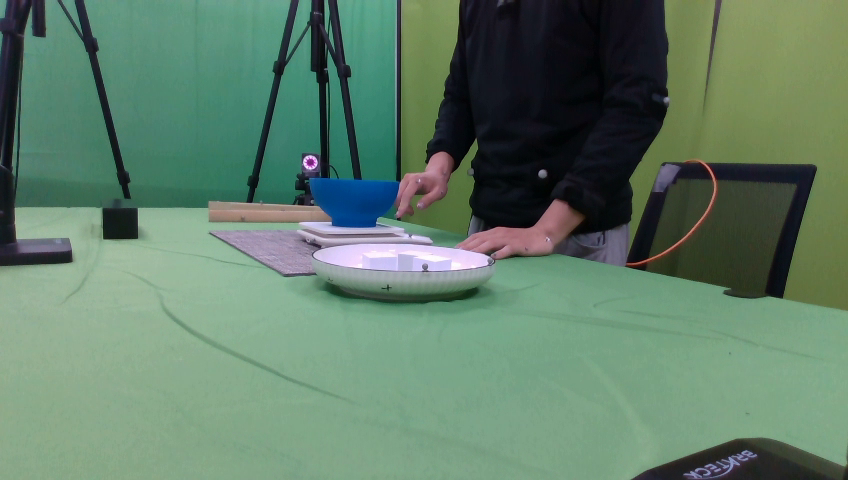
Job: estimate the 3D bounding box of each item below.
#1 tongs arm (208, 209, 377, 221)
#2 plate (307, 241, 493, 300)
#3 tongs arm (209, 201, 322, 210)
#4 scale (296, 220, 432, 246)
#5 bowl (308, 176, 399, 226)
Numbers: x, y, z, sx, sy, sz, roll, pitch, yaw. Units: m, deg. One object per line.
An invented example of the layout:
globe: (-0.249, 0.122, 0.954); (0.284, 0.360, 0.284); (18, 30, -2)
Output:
tongs arm: (-0.280, -0.057, 1.355); (0.389, 0.028, 0.028); (-1, 5, -28)
plate: (-0.027, 0.034, 0.684); (0.208, 0.039, 0.207); (2, 7, 0)
tongs arm: (-0.306, -0.071, 1.430); (0.386, 0.026, 0.050); (1, 8, -16)
scale: (-0.101, -0.012, 1.017); (0.202, 0.031, 0.148); (-1, 8, -30)
bowl: (-0.116, -0.064, 1.001); (0.151, 0.077, 0.151); (2, 6, 0)
